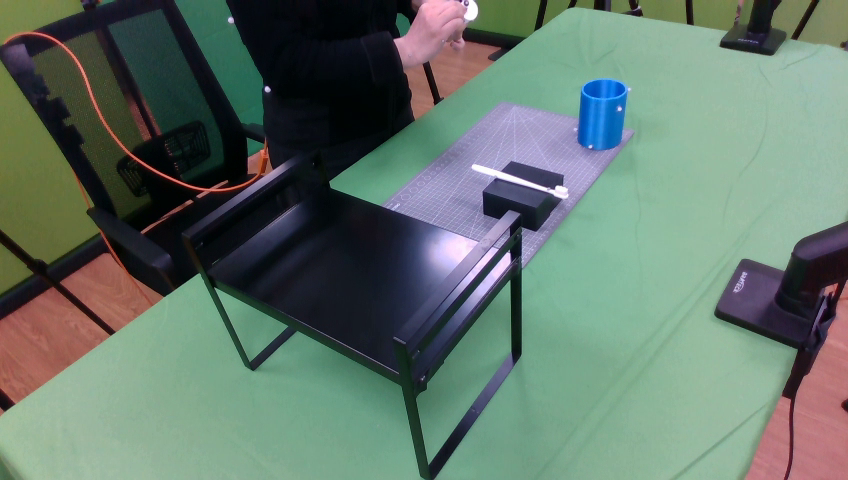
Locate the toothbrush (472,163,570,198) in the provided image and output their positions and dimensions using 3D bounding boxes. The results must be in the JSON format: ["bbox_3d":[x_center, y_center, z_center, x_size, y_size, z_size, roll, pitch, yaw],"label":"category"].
[{"bbox_3d":[0.157,-0.101,0.996,0.180,0.017,0.014,22,55,30],"label":"toothbrush"}]

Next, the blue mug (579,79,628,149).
[{"bbox_3d":[0.336,-0.246,1.143,0.082,0.106,0.116,0,41,10],"label":"blue mug"}]

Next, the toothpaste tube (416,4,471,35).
[{"bbox_3d":[0.045,-0.400,1.111,0.055,0.034,0.164,-11,9,-26],"label":"toothpaste tube"}]

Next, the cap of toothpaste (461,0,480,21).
[{"bbox_3d":[0.078,-0.395,1.039,0.037,0.037,0.011,-30,19,-23],"label":"cap of toothpaste"}]
